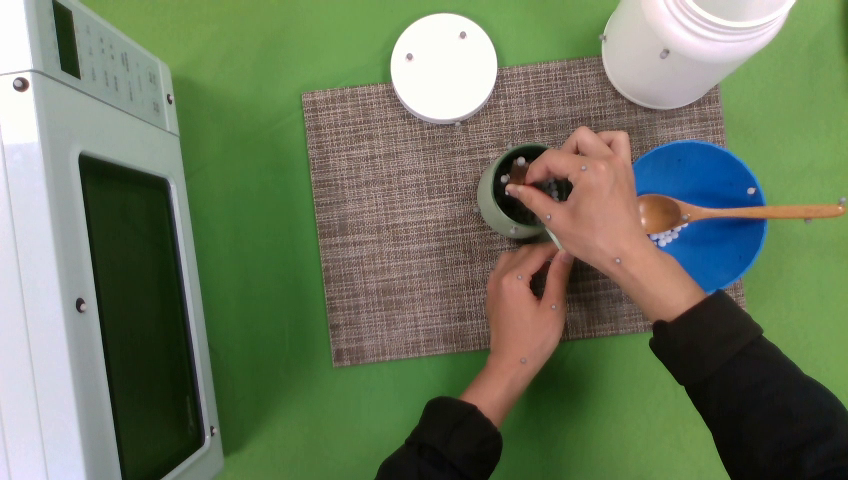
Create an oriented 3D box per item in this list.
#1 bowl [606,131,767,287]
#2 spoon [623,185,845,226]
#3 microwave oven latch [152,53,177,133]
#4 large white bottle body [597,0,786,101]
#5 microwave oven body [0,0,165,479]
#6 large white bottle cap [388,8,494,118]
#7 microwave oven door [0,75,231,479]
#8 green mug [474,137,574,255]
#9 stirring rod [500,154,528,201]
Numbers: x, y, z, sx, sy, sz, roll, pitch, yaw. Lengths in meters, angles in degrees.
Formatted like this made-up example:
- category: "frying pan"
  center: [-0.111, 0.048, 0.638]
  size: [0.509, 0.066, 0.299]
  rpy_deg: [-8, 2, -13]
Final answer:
- category: "bowl"
  center: [0.252, -0.029, 0.616]
  size: [0.151, 0.077, 0.151]
  rpy_deg: [0, 90, 1]
- category: "spoon"
  center: [0.295, -0.034, 0.587]
  size: [0.193, 0.022, 0.041]
  rpy_deg: [0, 93, 24]
- category: "microwave oven latch"
  center: [-0.280, -0.151, 0.631]
  size: [0.030, 0.029, 0.079]
  rpy_deg: [-9, 90, 0]
- category: "large white bottle body"
  center: [0.246, -0.218, 0.563]
  size: [0.130, 0.185, 0.130]
  rpy_deg: [0, 86, 2]
- category: "microwave oven body"
  center: [-0.403, 0.044, 0.536]
  size: [0.326, 0.260, 0.441]
  rpy_deg: [-9, 90, 0]
- category: "large white bottle cap"
  center: [0.018, -0.189, 0.650]
  size: [0.115, 0.018, 0.114]
  rpy_deg: [0, 89, 1]
- category: "microwave oven door"
  center: [-0.252, 0.064, 0.529]
  size: [0.039, 0.244, 0.355]
  rpy_deg: [-9, 90, 1]
- category: "green mug"
  center: [0.108, -0.040, 0.605]
  size: [0.092, 0.105, 0.125]
  rpy_deg: [-34, 89, 0]
- category: "stirring rod"
  center: [0.082, -0.055, 0.562]
  size: [0.014, 0.176, 0.006]
  rpy_deg: [15, 85, 6]
